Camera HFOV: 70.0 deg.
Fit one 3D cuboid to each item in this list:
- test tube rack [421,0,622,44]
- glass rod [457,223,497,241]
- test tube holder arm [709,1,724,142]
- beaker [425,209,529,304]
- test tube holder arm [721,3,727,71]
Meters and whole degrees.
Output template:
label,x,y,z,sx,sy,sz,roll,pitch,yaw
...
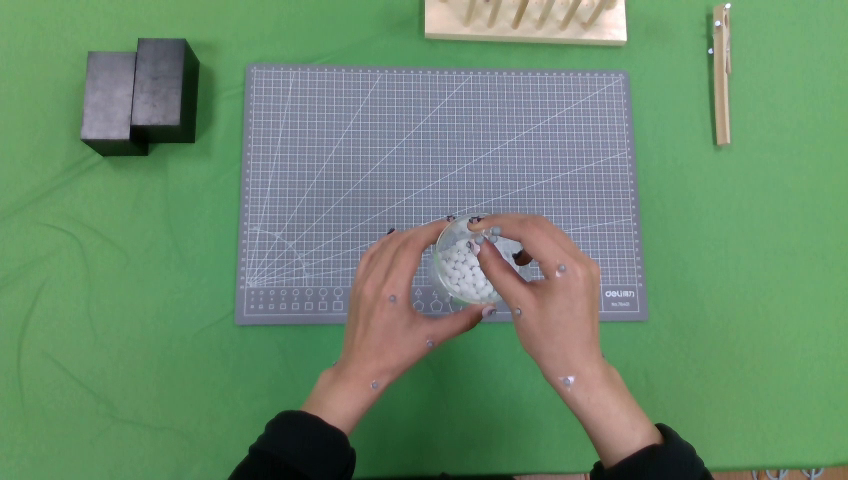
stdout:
label,x,y,z,sx,sy,sz,roll,pitch,yaw
test tube rack,0.120,-0.282,0.697,0.242,0.085,0.066,1,78,-4
glass rod,0.038,-0.004,0.473,0.008,0.199,0.008,0,88,-3
test tube holder arm,0.353,-0.204,0.729,0.013,0.015,0.177,12,77,-31
beaker,0.041,0.020,0.527,0.084,0.100,0.074,19,81,-2
test tube holder arm,0.362,-0.247,0.741,0.010,0.015,0.087,13,77,-31
